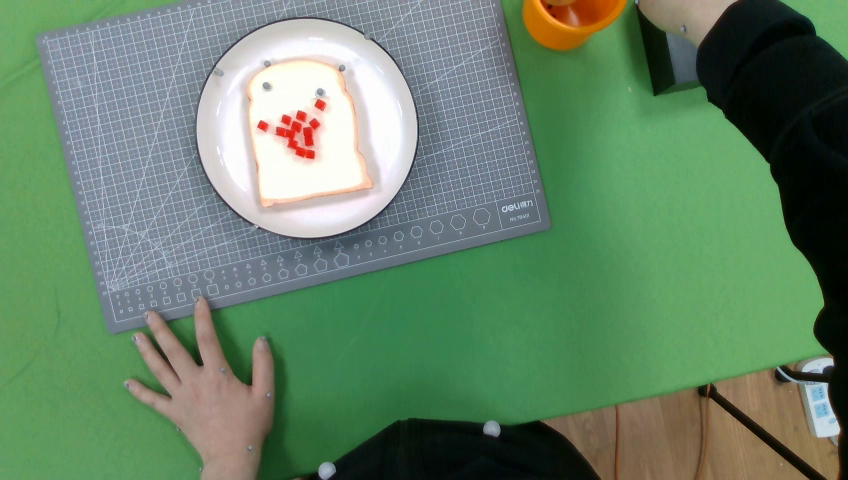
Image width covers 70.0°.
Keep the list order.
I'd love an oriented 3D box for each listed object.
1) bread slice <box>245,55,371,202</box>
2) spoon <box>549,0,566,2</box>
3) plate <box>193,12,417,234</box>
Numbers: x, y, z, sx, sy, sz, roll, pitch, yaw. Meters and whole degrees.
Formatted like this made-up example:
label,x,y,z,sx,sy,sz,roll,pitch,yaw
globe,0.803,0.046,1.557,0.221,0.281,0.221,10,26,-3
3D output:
label,x,y,z,sx,sy,sz,roll,pitch,yaw
bread slice,-0.118,-0.108,0.582,0.107,0.018,0.134,-13,91,-3
spoon,0.178,-0.236,0.523,0.022,0.192,0.042,-3,102,-41
plate,-0.110,-0.109,0.582,0.209,0.038,0.209,0,91,-3
